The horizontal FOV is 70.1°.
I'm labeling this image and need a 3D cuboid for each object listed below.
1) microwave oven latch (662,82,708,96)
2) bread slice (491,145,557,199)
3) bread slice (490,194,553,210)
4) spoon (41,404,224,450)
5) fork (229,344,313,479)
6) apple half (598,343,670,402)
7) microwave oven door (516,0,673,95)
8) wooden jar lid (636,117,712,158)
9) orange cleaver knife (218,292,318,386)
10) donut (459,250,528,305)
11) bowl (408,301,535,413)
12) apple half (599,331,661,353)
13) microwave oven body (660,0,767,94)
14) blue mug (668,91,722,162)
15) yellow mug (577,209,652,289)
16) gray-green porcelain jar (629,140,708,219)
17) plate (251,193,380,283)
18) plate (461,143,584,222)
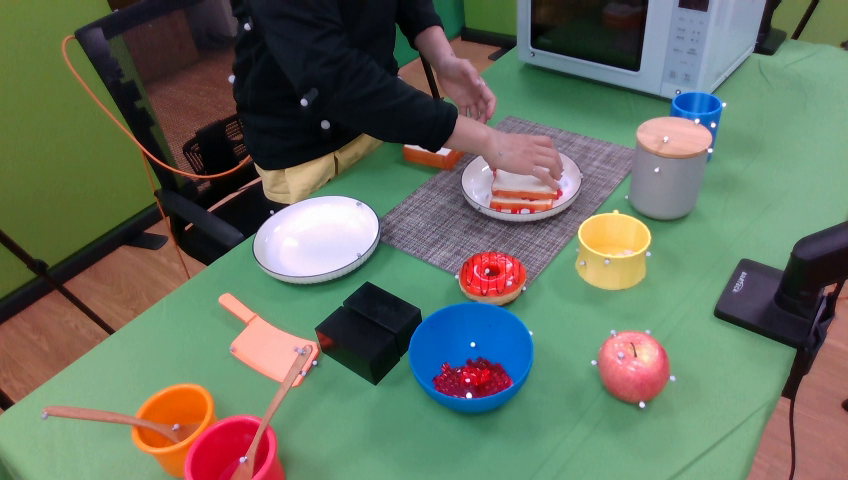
[{"bbox_3d":[0.518,-0.298,1.203,0.078,0.029,0.030,29,53,35],"label":"microwave oven latch"},{"bbox_3d":[0.172,-0.118,1.029,0.107,0.018,0.134,4,44,7],"label":"bread slice"},{"bbox_3d":[0.173,-0.099,1.047,0.104,0.019,0.131,3,42,11],"label":"bread slice"},{"bbox_3d":[-0.321,0.206,0.681,0.195,0.021,0.041,27,26,-33],"label":"spoon"},{"bbox_3d":[-0.173,0.205,0.662,0.028,0.019,0.207,29,94,36],"label":"fork"},{"bbox_3d":[0.247,0.161,0.710,0.081,0.075,0.053,2,47,5],"label":"apple half"},{"bbox_3d":[0.344,-0.458,1.257,0.353,0.245,0.039,26,51,33],"label":"microwave oven door"},{"bbox_3d":[0.377,-0.151,0.917,0.108,0.021,0.108,-2,42,3],"label":"wooden jar lid"},{"bbox_3d":[-0.235,0.136,0.850,0.209,0.012,0.077,25,56,30],"label":"orange cleaver knife"},{"bbox_3d":[0.100,0.053,0.872,0.099,0.048,0.098,-5,40,4],"label":"donut"},{"bbox_3d":[0.060,0.156,0.739,0.151,0.077,0.150,-4,40,4],"label":"bowl"},{"bbox_3d":[0.249,0.134,0.738,0.081,0.081,0.032,-1,46,7],"label":"apple half"},{"bbox_3d":[0.473,-0.516,1.313,0.438,0.261,0.327,26,51,34],"label":"microwave oven body"},{"bbox_3d":[0.475,-0.206,1.078,0.082,0.106,0.116,4,42,13],"label":"blue mug"},{"bbox_3d":[0.280,0.005,0.893,0.099,0.064,0.130,5,41,15],"label":"yellow mug"},{"bbox_3d":[0.383,-0.104,0.958,0.106,0.127,0.105,-4,41,4],"label":"gray-green porcelain jar"},{"bbox_3d":[-0.174,-0.001,0.984,0.209,0.038,0.208,-4,41,4],"label":"plate"},{"bbox_3d":[0.167,-0.095,1.040,0.207,0.039,0.206,-4,41,4],"label":"plate"}]
